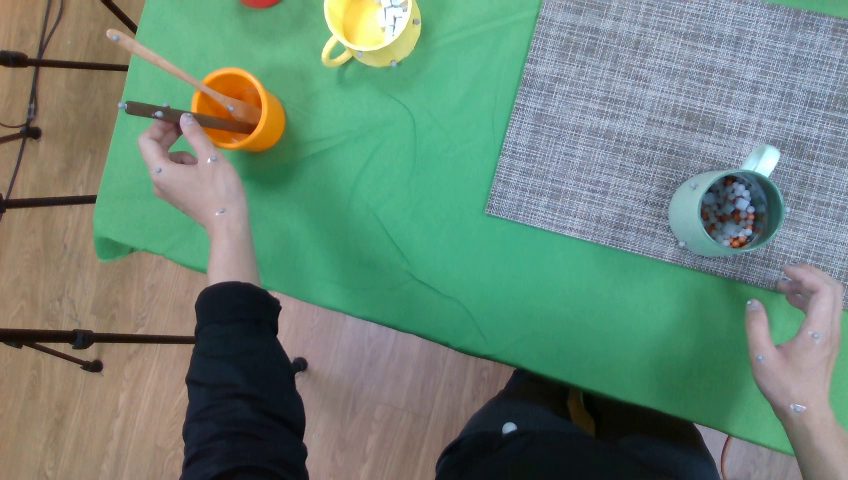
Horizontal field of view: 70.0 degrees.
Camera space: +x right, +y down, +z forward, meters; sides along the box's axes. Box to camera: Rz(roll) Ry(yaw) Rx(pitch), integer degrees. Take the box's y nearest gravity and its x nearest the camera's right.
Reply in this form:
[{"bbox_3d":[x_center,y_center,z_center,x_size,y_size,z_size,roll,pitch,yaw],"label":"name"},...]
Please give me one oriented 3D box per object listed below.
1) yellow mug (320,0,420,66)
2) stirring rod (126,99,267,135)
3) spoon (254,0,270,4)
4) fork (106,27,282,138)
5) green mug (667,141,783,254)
[{"bbox_3d":[-0.070,-0.249,0.698,0.131,0.064,0.100,-42,85,8],"label":"yellow mug"},{"bbox_3d":[-0.240,-0.132,0.661,0.006,0.177,0.014,-2,90,33],"label":"stirring rod"},{"bbox_3d":[-0.195,-0.362,0.674,0.041,0.021,0.195,11,138,7],"label":"spoon"},{"bbox_3d":[-0.254,-0.175,0.686,0.209,0.018,0.028,30,96,-36],"label":"fork"},{"bbox_3d":[0.316,-0.045,0.621,0.092,0.105,0.125,32,96,8],"label":"green mug"}]
